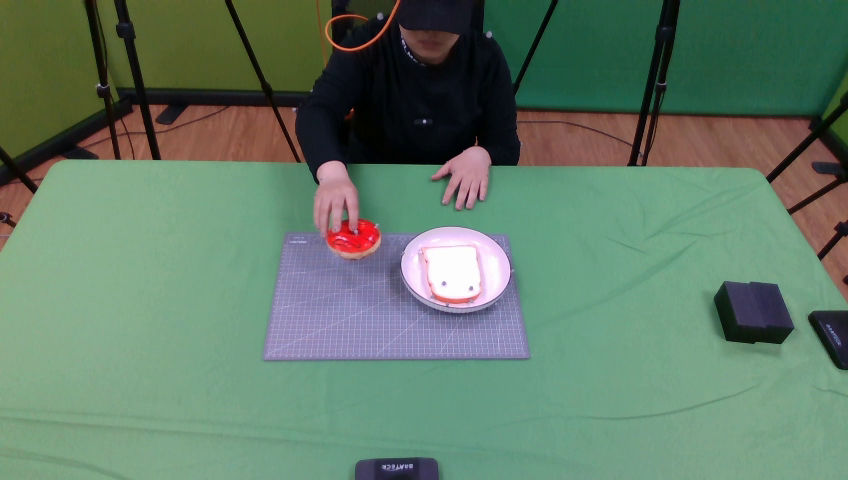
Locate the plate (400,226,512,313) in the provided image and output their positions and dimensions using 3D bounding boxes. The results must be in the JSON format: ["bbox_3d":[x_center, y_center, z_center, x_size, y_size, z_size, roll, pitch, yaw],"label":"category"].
[{"bbox_3d":[0.057,0.057,1.134,0.209,0.038,0.208,2,46,-2],"label":"plate"}]

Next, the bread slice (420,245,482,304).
[{"bbox_3d":[0.056,0.062,1.131,0.107,0.018,0.133,-5,46,-8],"label":"bread slice"}]

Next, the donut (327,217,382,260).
[{"bbox_3d":[-0.125,-0.005,1.088,0.099,0.048,0.098,1,38,-1],"label":"donut"}]
